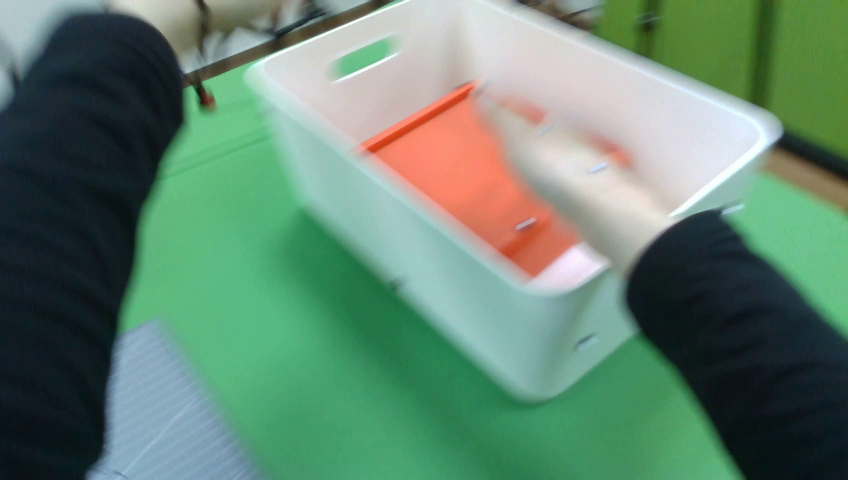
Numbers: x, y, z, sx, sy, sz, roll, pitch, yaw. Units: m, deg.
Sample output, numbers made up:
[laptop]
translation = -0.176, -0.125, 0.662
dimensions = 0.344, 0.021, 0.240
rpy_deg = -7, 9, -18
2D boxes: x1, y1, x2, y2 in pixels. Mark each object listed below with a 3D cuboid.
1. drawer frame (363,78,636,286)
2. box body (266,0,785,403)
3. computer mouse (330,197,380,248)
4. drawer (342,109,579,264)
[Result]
[drawer frame]
translation = 0.050, -0.048, 0.576
dimensions = 0.213, 0.083, 0.199
rpy_deg = -35, 54, -27
[box body]
translation = 0.065, -0.064, 0.544
dimensions = 0.254, 0.162, 0.360
rpy_deg = -32, 52, -24
[computer mouse]
translation = -0.022, -0.021, 0.533
dimensions = 0.117, 0.041, 0.062
rpy_deg = 11, 45, 6
[drawer]
translation = 0.057, -0.058, 0.574
dimensions = 0.192, 0.074, 0.212
rpy_deg = 31, 40, 34
